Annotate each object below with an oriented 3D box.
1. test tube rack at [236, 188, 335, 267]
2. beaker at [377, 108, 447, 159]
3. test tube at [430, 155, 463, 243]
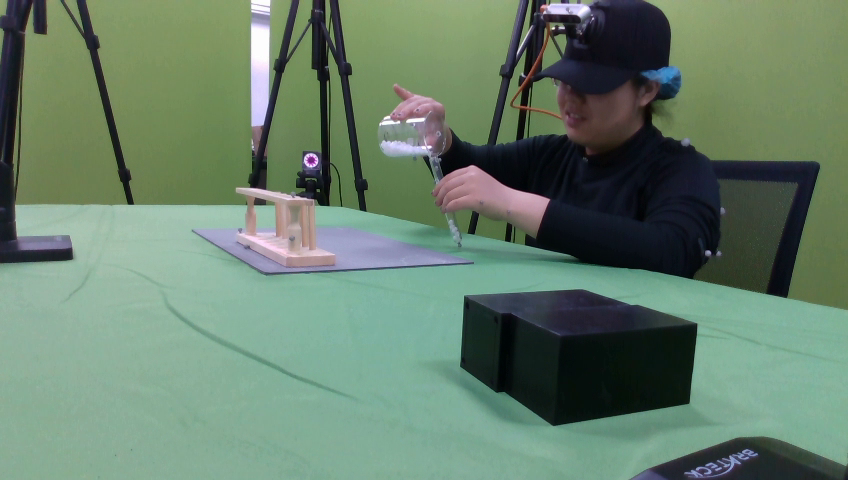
[{"bbox_3d":[-0.202,-0.024,0.854,0.067,0.085,0.241,-2,8,-31],"label":"test tube rack"},{"bbox_3d":[-0.022,-0.176,1.023,0.100,0.084,0.074,2,2,32],"label":"beaker"},{"bbox_3d":[0.037,-0.067,0.993,0.017,0.150,0.017,-16,-5,-1],"label":"test tube"}]
